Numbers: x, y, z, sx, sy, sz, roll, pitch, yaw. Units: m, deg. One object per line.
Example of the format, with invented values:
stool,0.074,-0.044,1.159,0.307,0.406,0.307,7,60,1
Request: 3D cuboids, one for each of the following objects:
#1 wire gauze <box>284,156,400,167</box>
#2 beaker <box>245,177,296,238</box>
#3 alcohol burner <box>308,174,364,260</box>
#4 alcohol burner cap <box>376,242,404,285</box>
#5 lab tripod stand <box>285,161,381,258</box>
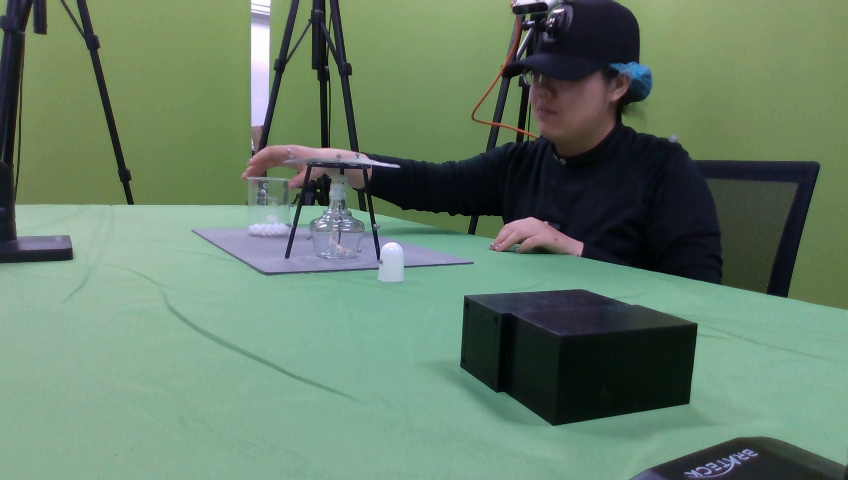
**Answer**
wire gauze,-0.115,-0.109,0.835,0.126,0.011,0.121,-3,10,-30
beaker,-0.263,-0.057,1.034,0.084,0.100,0.073,1,8,-17
alcohol burner,-0.121,-0.033,0.843,0.078,0.119,0.078,3,5,0
alcohol burner cap,-0.039,0.026,0.710,0.034,0.048,0.034,3,6,0
lab tripod stand,-0.123,-0.043,0.842,0.148,0.131,0.148,3,9,0
